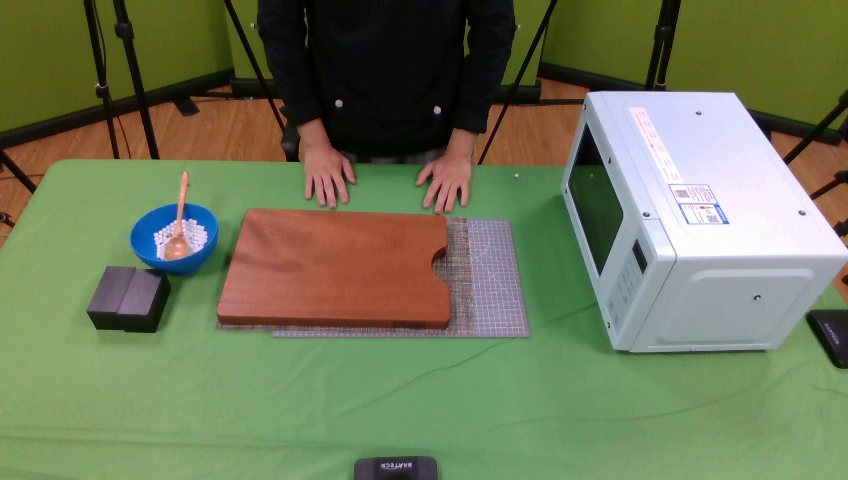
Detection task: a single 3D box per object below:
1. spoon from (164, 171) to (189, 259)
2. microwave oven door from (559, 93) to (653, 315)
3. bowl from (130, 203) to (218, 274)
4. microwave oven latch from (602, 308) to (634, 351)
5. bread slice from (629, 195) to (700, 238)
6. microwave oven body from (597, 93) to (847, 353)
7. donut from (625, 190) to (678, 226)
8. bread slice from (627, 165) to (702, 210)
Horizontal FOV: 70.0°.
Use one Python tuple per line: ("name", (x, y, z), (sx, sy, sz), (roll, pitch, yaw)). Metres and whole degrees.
("spoon", (-0.452, -0.046, 1.129), (0.041, 0.022, 0.193), (-1, 69, -3))
("microwave oven door", (0.327, -0.074, 1.123), (0.039, 0.245, 0.353), (-1, 46, -5))
("bowl", (-0.450, 0.010, 1.117), (0.151, 0.077, 0.150), (3, 45, -3))
("microwave oven latch", (0.332, 0.153, 1.044), (0.030, 0.029, 0.078), (-1, 45, -4))
("bread slice", (0.473, -0.047, 1.194), (0.131, 0.019, 0.104), (9, 42, 11))
("microwave oven body", (0.475, -0.041, 1.110), (0.326, 0.261, 0.438), (-1, 45, -4))
("donut", (0.440, -0.062, 1.172), (0.099, 0.048, 0.098), (-6, 30, 4))
("bread slice", (0.455, -0.096, 1.141), (0.135, 0.018, 0.106), (5, 42, -18))
